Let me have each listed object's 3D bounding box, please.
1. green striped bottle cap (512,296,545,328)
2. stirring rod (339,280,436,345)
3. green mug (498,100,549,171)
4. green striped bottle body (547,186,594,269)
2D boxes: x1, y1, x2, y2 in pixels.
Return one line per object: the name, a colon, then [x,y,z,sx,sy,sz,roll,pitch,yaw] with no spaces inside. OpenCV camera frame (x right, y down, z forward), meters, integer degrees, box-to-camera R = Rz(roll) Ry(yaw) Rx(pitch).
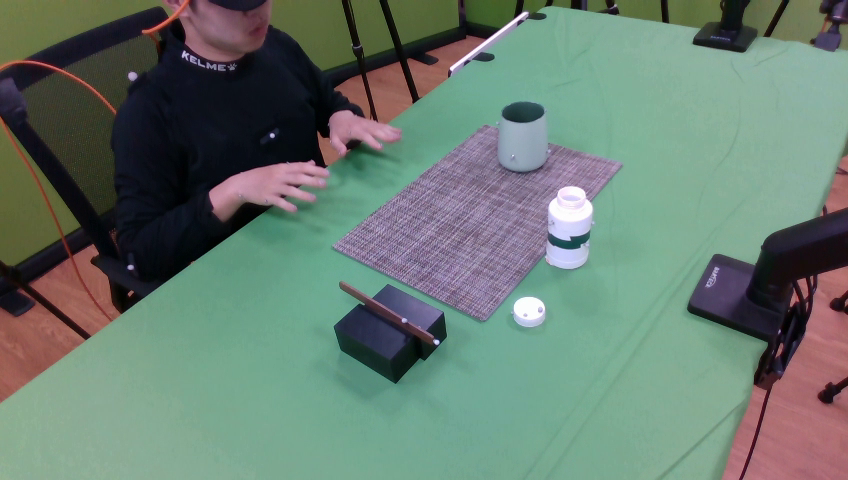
green striped bottle cap: [0.144,0.099,0.837,0.044,0.020,0.044,-2,44,3]
stirring rod: [-0.053,0.093,0.795,0.174,0.014,0.006,27,47,33]
green mug: [0.182,-0.197,1.101,0.092,0.105,0.125,3,42,13]
green striped bottle body: [0.214,-0.020,0.886,0.063,0.120,0.063,-4,41,4]
